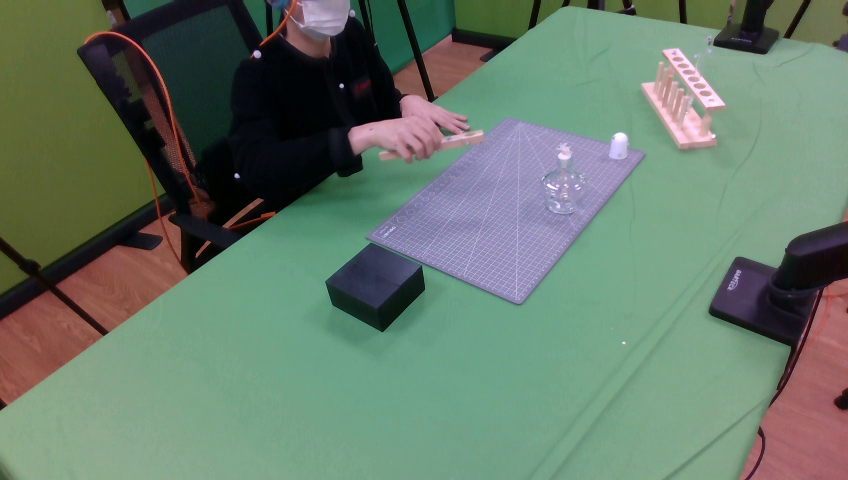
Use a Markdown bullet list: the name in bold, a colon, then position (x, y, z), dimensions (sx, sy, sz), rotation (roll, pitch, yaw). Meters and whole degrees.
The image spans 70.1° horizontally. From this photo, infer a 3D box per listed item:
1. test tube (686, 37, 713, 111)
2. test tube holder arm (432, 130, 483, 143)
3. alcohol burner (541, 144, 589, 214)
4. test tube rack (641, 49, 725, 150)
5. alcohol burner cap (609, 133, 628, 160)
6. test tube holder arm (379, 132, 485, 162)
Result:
- **test tube**: position (0.509, -0.306, 1.129), dimensions (0.017, 0.151, 0.017), rotation (-1, 45, 1)
- **test tube holder arm**: position (0.057, -0.167, 1.007), dimensions (0.088, 0.015, 0.010), rotation (-11, 30, 7)
- **alcohol burner**: position (0.229, -0.102, 0.983), dimensions (0.078, 0.119, 0.077), rotation (-6, 41, 5)
- **test tube rack**: position (0.495, -0.279, 1.175), dimensions (0.067, 0.085, 0.241), rotation (-5, 41, 3)
- **alcohol burner cap**: position (0.356, -0.172, 1.100), dimensions (0.034, 0.048, 0.033), rotation (-5, 41, 5)
- **test tube holder arm**: position (0.013, -0.156, 1.007), dimensions (0.178, 0.015, 0.013), rotation (-12, 30, 6)
